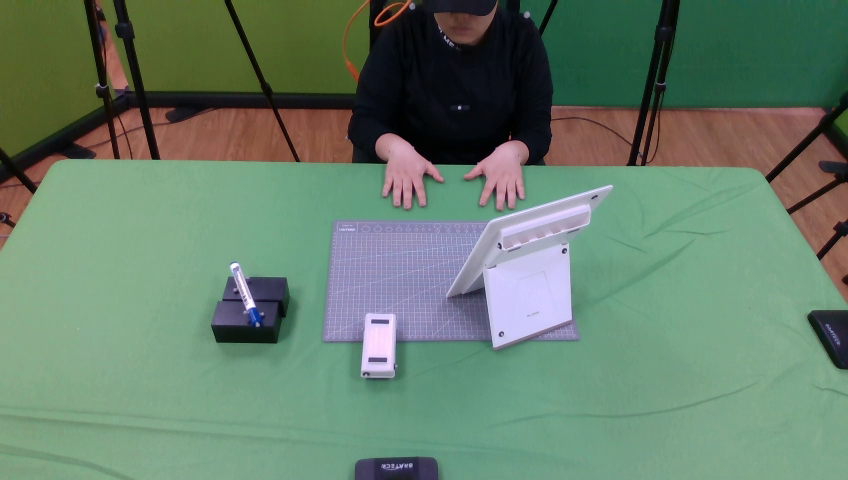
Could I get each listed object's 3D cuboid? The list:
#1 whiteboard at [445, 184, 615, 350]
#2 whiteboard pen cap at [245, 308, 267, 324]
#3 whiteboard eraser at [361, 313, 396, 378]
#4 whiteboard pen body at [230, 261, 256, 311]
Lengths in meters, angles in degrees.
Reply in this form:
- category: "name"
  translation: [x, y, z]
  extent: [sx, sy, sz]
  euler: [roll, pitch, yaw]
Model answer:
- category: "whiteboard"
  translation: [0.186, 0.065, 0.990]
  extent: [0.217, 0.306, 0.143]
  euler: [-15, 68, -18]
- category: "whiteboard pen cap"
  translation: [-0.273, 0.126, 0.987]
  extent: [0.033, 0.018, 0.018]
  euler: [30, 49, 0]
- category: "whiteboard eraser"
  translation: [-0.075, 0.176, 1.006]
  extent: [0.055, 0.042, 0.112]
  euler: [2, 49, -4]
- category: "whiteboard pen body"
  translation: [-0.303, 0.086, 1.025]
  extent: [0.017, 0.017, 0.140]
  euler: [-18, 50, -20]
